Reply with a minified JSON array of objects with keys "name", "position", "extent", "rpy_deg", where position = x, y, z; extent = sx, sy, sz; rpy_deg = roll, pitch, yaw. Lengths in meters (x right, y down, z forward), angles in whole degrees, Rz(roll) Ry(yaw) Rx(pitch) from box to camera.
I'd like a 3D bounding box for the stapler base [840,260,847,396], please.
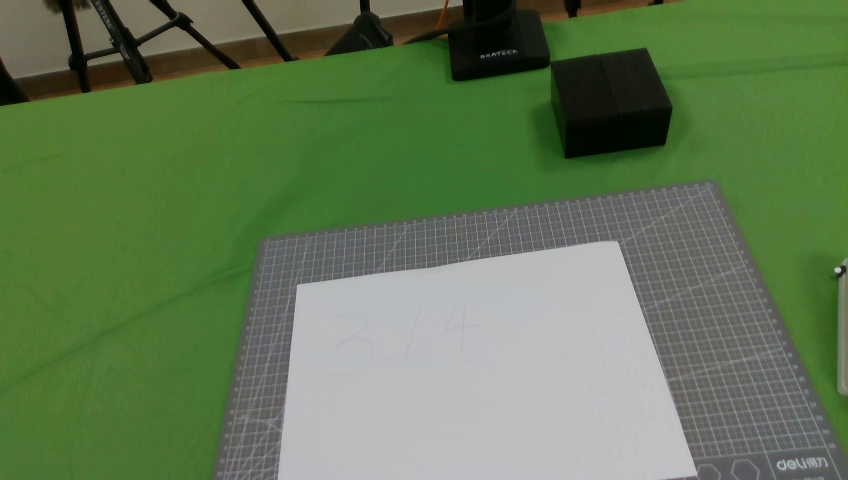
[{"name":"stapler base","position":[0.339,0.060,0.453],"extent":[0.041,0.025,0.130],"rpy_deg":[11,55,24]}]
